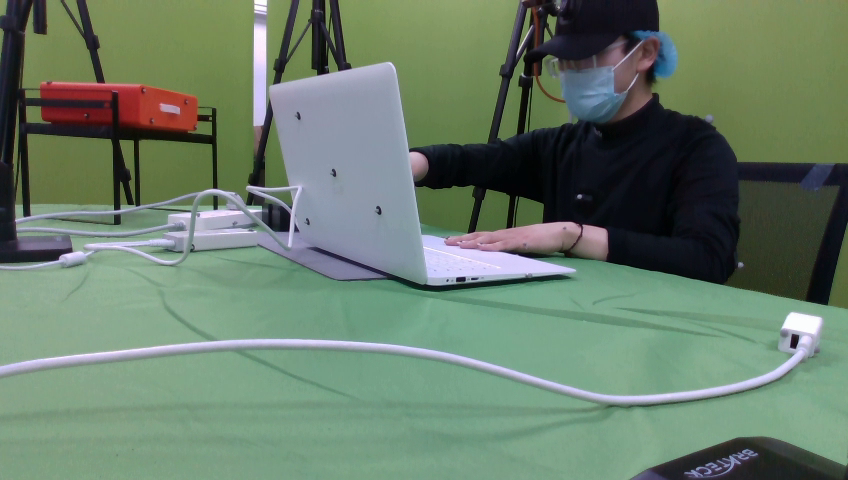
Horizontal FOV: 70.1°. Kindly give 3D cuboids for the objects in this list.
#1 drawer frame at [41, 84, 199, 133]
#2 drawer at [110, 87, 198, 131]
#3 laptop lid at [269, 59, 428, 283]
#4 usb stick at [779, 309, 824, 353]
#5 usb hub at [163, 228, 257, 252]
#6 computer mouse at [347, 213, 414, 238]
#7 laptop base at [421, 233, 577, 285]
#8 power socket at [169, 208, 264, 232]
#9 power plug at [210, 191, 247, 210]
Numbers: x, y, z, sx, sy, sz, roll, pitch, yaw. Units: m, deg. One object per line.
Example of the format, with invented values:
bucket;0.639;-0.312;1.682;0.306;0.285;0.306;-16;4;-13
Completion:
drawer frame;-0.604;-0.264;1.225;0.213;0.082;0.202;3;8;8
drawer;-0.602;-0.263;1.225;0.211;0.073;0.195;3;8;10
laptop lid;-0.110;-0.087;0.752;0.013;0.241;0.355;-18;19;-30
usb stick;0.311;0.072;0.496;0.027;0.021;0.059;8;15;34
usb hub;-0.314;0.000;0.894;0.049;0.025;0.126;9;10;41
computer mouse;-0.078;-0.026;1.080;0.117;0.041;0.062;-6;11;-18
laptop base;0.007;0.022;0.850;0.237;0.023;0.352;1;7;-34
power socket;-0.381;-0.038;1.128;0.072;0.032;0.227;4;8;17
power plug;-0.386;-0.071;1.204;0.072;0.052;0.035;8;11;25
